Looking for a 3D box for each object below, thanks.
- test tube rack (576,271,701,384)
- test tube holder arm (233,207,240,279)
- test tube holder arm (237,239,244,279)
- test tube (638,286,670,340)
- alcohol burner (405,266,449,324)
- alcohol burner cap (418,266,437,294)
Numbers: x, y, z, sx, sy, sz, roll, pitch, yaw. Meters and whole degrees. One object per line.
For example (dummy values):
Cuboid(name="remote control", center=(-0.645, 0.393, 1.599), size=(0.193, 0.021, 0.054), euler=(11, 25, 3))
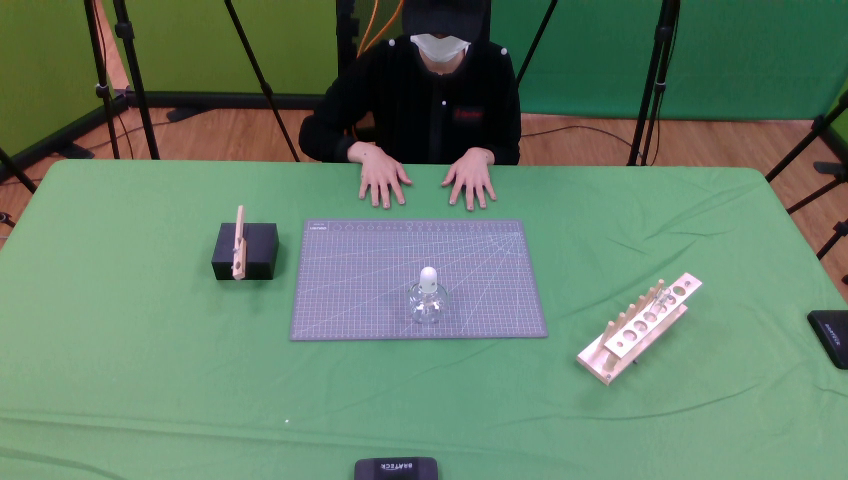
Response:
Cuboid(name="test tube rack", center=(0.373, 0.138, 1.047), size=(0.242, 0.085, 0.066), euler=(-31, 56, -29))
Cuboid(name="test tube holder arm", center=(-0.341, 0.002, 1.106), size=(0.013, 0.015, 0.177), euler=(-11, 47, -8))
Cuboid(name="test tube holder arm", center=(-0.325, 0.032, 1.076), size=(0.010, 0.015, 0.087), euler=(-10, 47, -7))
Cuboid(name="test tube", center=(0.373, 0.122, 0.994), size=(0.017, 0.151, 0.017), euler=(0, 51, 0))
Cuboid(name="alcohol burner", center=(0.005, 0.089, 1.043), size=(0.078, 0.120, 0.077), euler=(1, 44, -1))
Cuboid(name="alcohol burner cap", center=(0.006, 0.065, 1.017), size=(0.034, 0.048, 0.033), euler=(1, 47, -1))
